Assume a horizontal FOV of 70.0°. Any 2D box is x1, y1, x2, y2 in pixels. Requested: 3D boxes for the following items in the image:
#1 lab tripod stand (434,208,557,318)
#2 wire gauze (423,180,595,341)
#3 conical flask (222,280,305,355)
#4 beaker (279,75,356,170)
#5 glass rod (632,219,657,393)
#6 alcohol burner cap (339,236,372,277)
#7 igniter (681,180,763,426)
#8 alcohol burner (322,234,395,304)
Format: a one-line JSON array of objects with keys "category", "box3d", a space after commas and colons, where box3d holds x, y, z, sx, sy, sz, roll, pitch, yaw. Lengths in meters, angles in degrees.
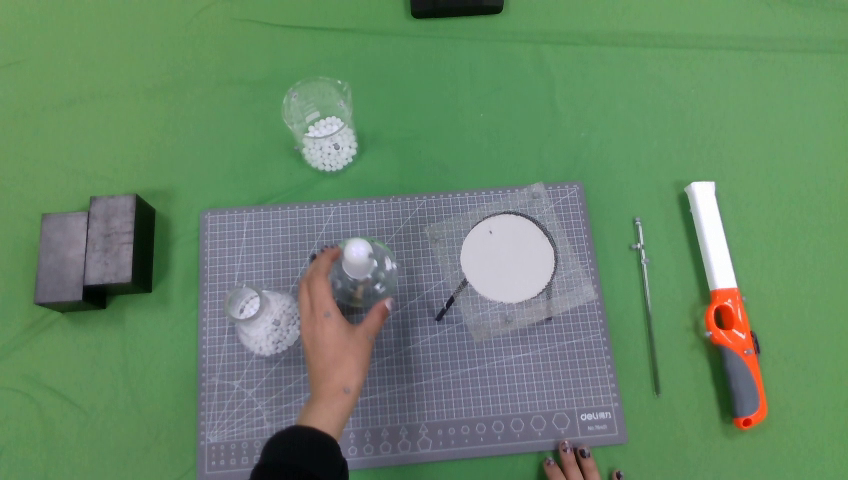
[{"category": "lab tripod stand", "box3d": [0.075, 0.034, 0.622, 0.148, 0.132, 0.147, 0, 76, 0]}, {"category": "wire gauze", "box3d": [0.077, 0.017, 0.556, 0.125, 0.011, 0.120, -20, 75, -6]}, {"category": "conical flask", "box3d": [-0.167, 0.073, 0.612, 0.075, 0.122, 0.075, 0, 73, -1]}, {"category": "beaker", "box3d": [-0.114, -0.130, 0.686, 0.073, 0.101, 0.084, 43, 77, 11]}, {"category": "glass rod", "box3d": [0.247, 0.070, 0.683, 0.008, 0.008, 0.198, 0, 74, -1]}, {"category": "alcohol burner cap", "box3d": [-0.067, 0.013, 0.598, 0.034, 0.048, 0.033, 3, 66, -7]}, {"category": "igniter", "box3d": [0.331, 0.063, 0.677, 0.057, 0.025, 0.275, -2, 74, -13]}, {"category": "alcohol burner", "box3d": [-0.069, 0.026, 0.632, 0.078, 0.119, 0.077, 1, 72, -3]}]
